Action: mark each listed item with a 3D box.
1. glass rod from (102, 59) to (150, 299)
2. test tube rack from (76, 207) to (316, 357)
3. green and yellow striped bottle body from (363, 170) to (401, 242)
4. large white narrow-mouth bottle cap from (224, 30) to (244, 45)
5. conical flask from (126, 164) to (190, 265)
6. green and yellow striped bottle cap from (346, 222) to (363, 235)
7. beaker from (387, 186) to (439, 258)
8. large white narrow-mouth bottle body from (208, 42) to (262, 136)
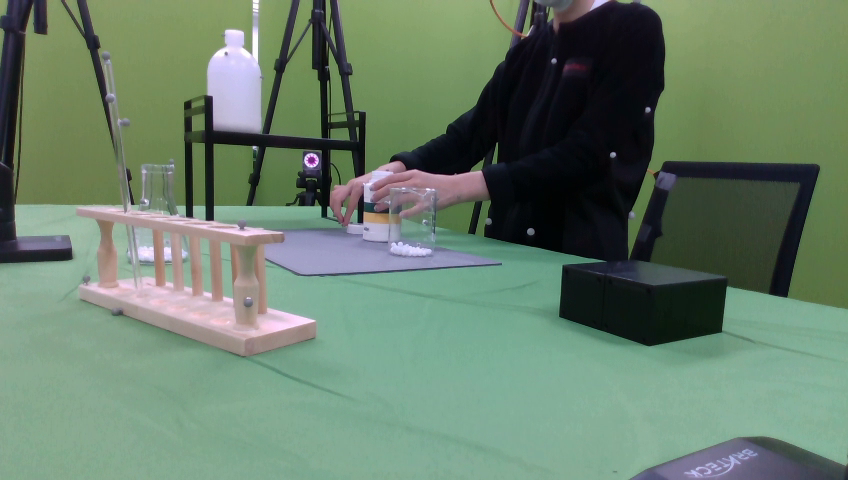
[{"bbox_3d":[-0.243,-0.045,0.496,0.008,0.199,0.008,-4,13,1],"label":"glass rod"},{"bbox_3d":[-0.196,0.023,0.500,0.241,0.085,0.067,8,9,36],"label":"test tube rack"},{"bbox_3d":[-0.072,-0.059,1.036,0.063,0.119,0.063,3,7,0],"label":"green and yellow striped bottle body"},{"bbox_3d":[-0.365,-0.389,1.166,0.038,0.024,0.037,2,9,0],"label":"large white narrow-mouth bottle cap"},{"bbox_3d":[-0.332,-0.033,0.756,0.075,0.122,0.075,2,7,0],"label":"conical flask"},{"bbox_3d":[-0.122,-0.021,1.132,0.045,0.020,0.045,4,9,0],"label":"green and yellow striped bottle cap"},{"bbox_3d":[-0.015,-0.027,0.886,0.074,0.100,0.083,-1,8,-20],"label":"beaker"},{"bbox_3d":[-0.369,-0.304,1.181,0.102,0.194,0.101,2,9,0],"label":"large white narrow-mouth bottle body"}]
